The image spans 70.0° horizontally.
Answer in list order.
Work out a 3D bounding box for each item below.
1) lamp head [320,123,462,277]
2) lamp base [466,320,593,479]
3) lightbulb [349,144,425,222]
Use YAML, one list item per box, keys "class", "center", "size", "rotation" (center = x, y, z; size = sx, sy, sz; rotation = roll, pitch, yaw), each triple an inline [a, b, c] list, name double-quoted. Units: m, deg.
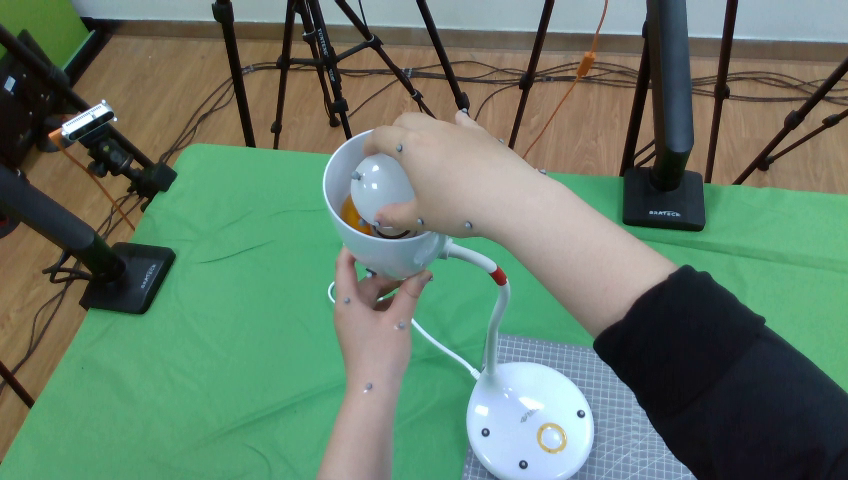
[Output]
- class: "lamp head"
  center: [-0.022, -0.020, 0.516]
  size: [0.112, 0.124, 0.111]
  rotation: [-2, 58, 4]
- class: "lamp base"
  center: [0.115, 0.174, 0.717]
  size: [0.177, 0.182, 0.160]
  rotation: [30, 63, 28]
- class: "lightbulb"
  center: [-0.029, -0.038, 0.493]
  size: [0.059, 0.108, 0.059]
  rotation: [0, 74, 0]
